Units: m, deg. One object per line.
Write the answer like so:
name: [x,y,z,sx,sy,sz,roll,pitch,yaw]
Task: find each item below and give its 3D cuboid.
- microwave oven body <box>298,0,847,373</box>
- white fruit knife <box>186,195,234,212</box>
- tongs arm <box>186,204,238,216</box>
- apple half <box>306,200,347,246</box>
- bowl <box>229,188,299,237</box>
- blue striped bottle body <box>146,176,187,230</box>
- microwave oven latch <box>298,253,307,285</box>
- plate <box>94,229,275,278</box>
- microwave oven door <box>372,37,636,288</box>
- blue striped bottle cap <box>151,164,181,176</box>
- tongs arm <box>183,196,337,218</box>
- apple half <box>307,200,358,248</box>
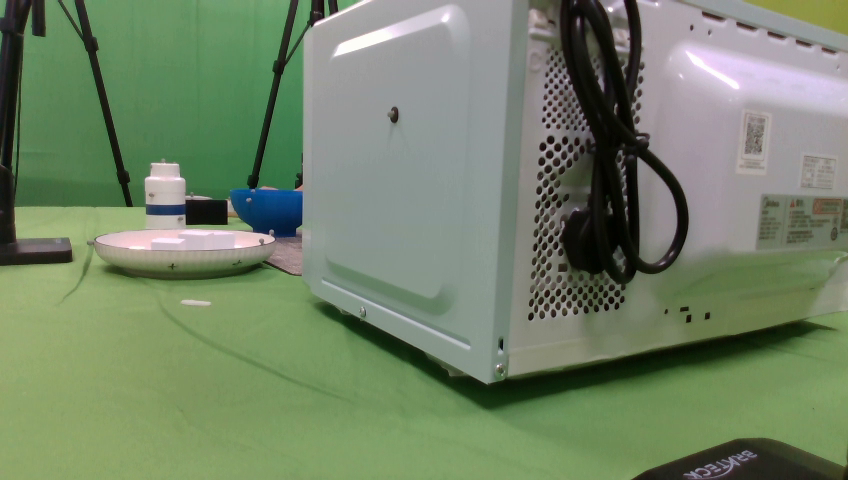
microwave oven body: [0.151,-0.055,0.542,0.444,0.260,0.324,-2,7,-33]
white fruit knife: [-0.401,-0.071,1.275,0.208,0.027,0.016,10,0,-35]
tongs arm: [-0.396,-0.067,1.399,0.389,0.028,0.028,1,5,-15]
apple half: [-0.162,-0.029,0.965,0.032,0.081,0.082,13,13,43]
bowl: [-0.265,-0.048,1.065,0.151,0.077,0.151,3,8,0]
blue striped bottle body: [-0.430,-0.065,1.010,0.063,0.120,0.063,2,7,0]
microwave oven latch: [-0.081,0.028,0.582,0.079,0.029,0.030,-2,7,-33]
plate: [-0.291,0.016,0.750,0.208,0.039,0.207,2,7,0]
microwave oven door: [0.109,-0.080,0.686,0.358,0.243,0.039,-2,9,-33]
blue striped bottle cap: [-0.428,-0.116,1.002,0.044,0.020,0.044,1,6,0]
tongs arm: [-0.404,-0.081,1.479,0.385,0.026,0.050,3,8,-2]
apple half: [-0.134,-0.023,0.938,0.053,0.074,0.081,14,10,43]
